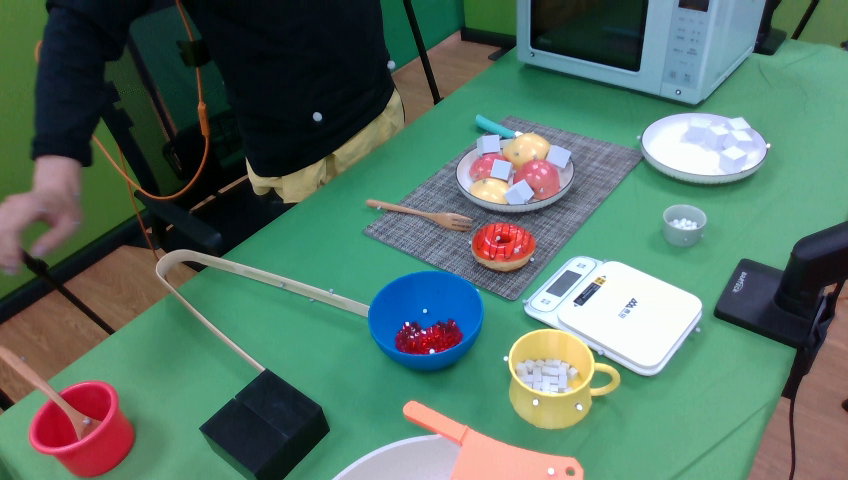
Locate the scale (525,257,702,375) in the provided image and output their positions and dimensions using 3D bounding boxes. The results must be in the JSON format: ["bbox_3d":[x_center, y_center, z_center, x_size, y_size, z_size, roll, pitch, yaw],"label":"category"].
[{"bbox_3d":[0.254,0.091,0.821,0.199,0.032,0.149,28,51,35],"label":"scale"}]

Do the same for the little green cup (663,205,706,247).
[{"bbox_3d":[0.396,-0.021,0.926,0.061,0.039,0.061,-4,40,4],"label":"little green cup"}]

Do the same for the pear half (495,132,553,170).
[{"bbox_3d":[0.174,-0.167,1.094,0.109,0.056,0.076,15,53,30],"label":"pear half"}]

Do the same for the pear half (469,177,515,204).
[{"bbox_3d":[0.115,-0.090,1.036,0.087,0.031,0.071,29,38,32],"label":"pear half"}]

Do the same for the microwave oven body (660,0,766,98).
[{"bbox_3d":[0.472,-0.513,1.317,0.438,0.261,0.327,26,51,34],"label":"microwave oven body"}]

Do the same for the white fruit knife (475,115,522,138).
[{"bbox_3d":[0.177,-0.207,1.190,0.205,0.016,0.027,31,64,35],"label":"white fruit knife"}]

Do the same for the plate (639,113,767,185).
[{"bbox_3d":[0.489,-0.157,1.074,0.207,0.039,0.206,-4,40,4],"label":"plate"}]

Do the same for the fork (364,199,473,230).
[{"bbox_3d":[-0.014,-0.046,1.027,0.206,0.028,0.019,14,18,27],"label":"fork"}]

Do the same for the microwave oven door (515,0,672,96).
[{"bbox_3d":[0.343,-0.454,1.259,0.353,0.245,0.039,26,51,33],"label":"microwave oven door"}]

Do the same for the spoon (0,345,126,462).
[{"bbox_3d":[-0.434,0.192,0.720,0.194,0.021,0.042,47,53,-7],"label":"spoon"}]

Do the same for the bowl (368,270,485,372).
[{"bbox_3d":[0.007,0.118,0.791,0.151,0.077,0.150,-5,40,4],"label":"bowl"}]

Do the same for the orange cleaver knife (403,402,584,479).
[{"bbox_3d":[0.062,0.222,0.609,0.210,0.012,0.077,15,48,25],"label":"orange cleaver knife"}]

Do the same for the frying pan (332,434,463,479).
[{"bbox_3d":[-0.089,0.306,0.564,0.487,0.103,0.306,10,41,7],"label":"frying pan"}]

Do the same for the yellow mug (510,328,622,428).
[{"bbox_3d":[0.168,0.164,0.722,0.130,0.064,0.099,0,40,8],"label":"yellow mug"}]

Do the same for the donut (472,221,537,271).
[{"bbox_3d":[0.123,0.008,0.923,0.099,0.048,0.098,-3,38,3],"label":"donut"}]

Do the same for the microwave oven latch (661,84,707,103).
[{"bbox_3d":[0.517,-0.296,1.204,0.078,0.029,0.030,27,52,35],"label":"microwave oven latch"}]

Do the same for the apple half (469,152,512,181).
[{"bbox_3d":[0.120,-0.138,1.088,0.081,0.033,0.081,-2,46,2],"label":"apple half"}]

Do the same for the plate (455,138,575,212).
[{"bbox_3d":[0.159,-0.111,1.063,0.209,0.038,0.208,-4,40,4],"label":"plate"}]

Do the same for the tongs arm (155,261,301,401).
[{"bbox_3d":[-0.295,0.122,0.868,0.384,0.028,0.028,28,58,36],"label":"tongs arm"}]

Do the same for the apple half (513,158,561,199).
[{"bbox_3d":[0.193,-0.111,1.031,0.080,0.053,0.075,11,41,26],"label":"apple half"}]

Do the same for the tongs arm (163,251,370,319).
[{"bbox_3d":[-0.247,0.073,0.917,0.382,0.026,0.051,16,48,26],"label":"tongs arm"}]
